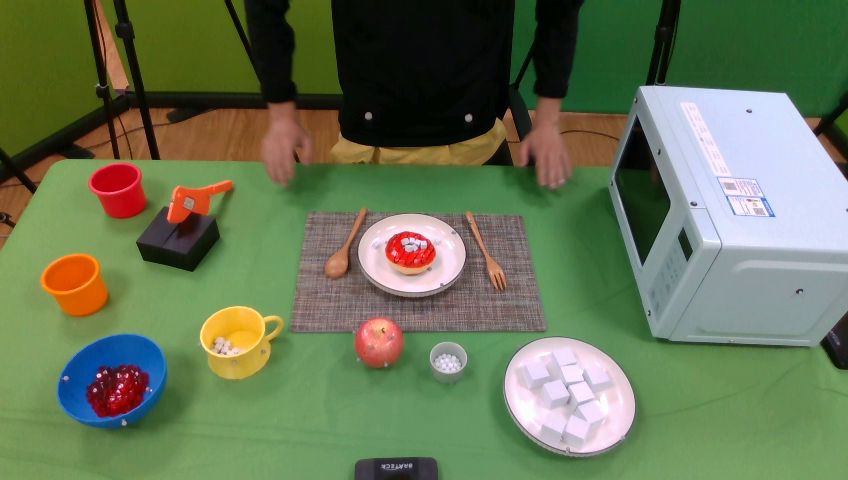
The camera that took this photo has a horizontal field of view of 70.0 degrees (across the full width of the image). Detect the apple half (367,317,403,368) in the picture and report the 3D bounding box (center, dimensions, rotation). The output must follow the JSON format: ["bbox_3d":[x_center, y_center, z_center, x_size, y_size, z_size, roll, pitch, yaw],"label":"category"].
[{"bbox_3d":[-0.062,0.167,0.998,0.053,0.075,0.080,-11,44,-21],"label":"apple half"}]

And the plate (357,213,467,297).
[{"bbox_3d":[-0.023,0.032,1.150,0.209,0.038,0.208,2,46,-2],"label":"plate"}]

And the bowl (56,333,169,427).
[{"bbox_3d":[-0.456,0.222,0.911,0.151,0.077,0.150,3,45,-2],"label":"bowl"}]

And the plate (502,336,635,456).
[{"bbox_3d":[0.225,0.248,0.963,0.208,0.039,0.206,2,46,-2],"label":"plate"}]

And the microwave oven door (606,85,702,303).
[{"bbox_3d":[0.423,-0.094,1.140,0.039,0.245,0.353,2,46,-1],"label":"microwave oven door"}]

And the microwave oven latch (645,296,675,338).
[{"bbox_3d":[0.411,0.134,1.061,0.030,0.029,0.078,4,45,0],"label":"microwave oven latch"}]

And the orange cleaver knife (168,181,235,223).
[{"bbox_3d":[-0.436,-0.078,1.196,0.012,0.077,0.211,16,15,10],"label":"orange cleaver knife"}]

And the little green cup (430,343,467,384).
[{"bbox_3d":[0.039,0.203,0.994,0.061,0.039,0.061,2,46,-2],"label":"little green cup"}]

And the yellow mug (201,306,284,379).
[{"bbox_3d":[-0.291,0.160,0.993,0.131,0.064,0.099,-23,51,-25],"label":"yellow mug"}]

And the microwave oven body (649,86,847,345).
[{"bbox_3d":[0.567,-0.053,1.118,0.326,0.261,0.439,2,45,-1],"label":"microwave oven body"}]

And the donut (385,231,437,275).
[{"bbox_3d":[-0.025,0.024,1.142,0.099,0.048,0.098,3,44,-3],"label":"donut"}]

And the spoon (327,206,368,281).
[{"bbox_3d":[-0.145,0.003,1.188,0.041,0.022,0.193,12,47,7],"label":"spoon"}]

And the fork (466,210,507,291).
[{"bbox_3d":[0.118,0.016,1.188,0.028,0.019,0.206,-16,49,-4],"label":"fork"}]

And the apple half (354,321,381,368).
[{"bbox_3d":[-0.097,0.176,0.985,0.033,0.081,0.080,-12,48,-20],"label":"apple half"}]
